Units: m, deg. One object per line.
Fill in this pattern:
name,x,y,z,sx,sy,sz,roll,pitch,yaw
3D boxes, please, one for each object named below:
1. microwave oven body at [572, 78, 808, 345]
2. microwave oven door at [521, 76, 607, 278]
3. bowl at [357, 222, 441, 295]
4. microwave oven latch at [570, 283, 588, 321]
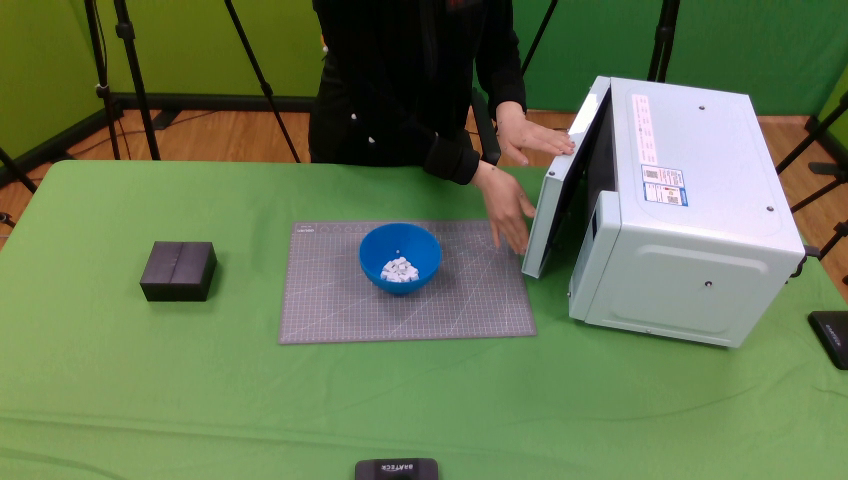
microwave oven body,0.456,-0.063,1.124,0.326,0.261,0.439,8,45,5
microwave oven door,0.277,-0.130,1.168,0.039,0.245,0.354,20,48,15
bowl,-0.046,0.046,1.107,0.151,0.077,0.150,3,45,-2
microwave oven latch,0.276,0.106,1.082,0.030,0.029,0.079,10,45,6
